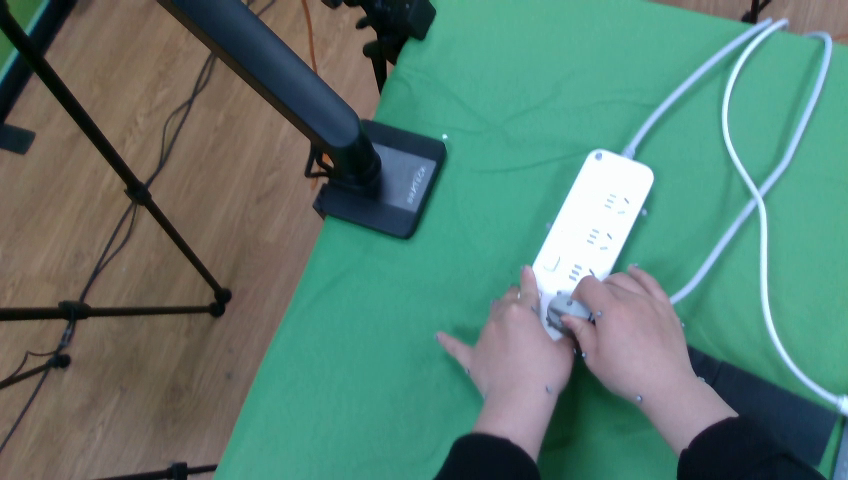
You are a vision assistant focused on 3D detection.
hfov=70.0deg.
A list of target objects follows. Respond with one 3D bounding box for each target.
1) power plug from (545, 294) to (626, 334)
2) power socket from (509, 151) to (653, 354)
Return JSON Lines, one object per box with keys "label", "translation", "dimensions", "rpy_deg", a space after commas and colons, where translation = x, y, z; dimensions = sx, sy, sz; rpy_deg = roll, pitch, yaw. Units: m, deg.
{"label": "power plug", "translation": [0.147, 0.080, 0.571], "dimensions": [0.072, 0.053, 0.035], "rpy_deg": [39, 79, 18]}
{"label": "power socket", "translation": [0.160, 0.009, 0.614], "dimensions": [0.072, 0.033, 0.226], "rpy_deg": [26, 77, 14]}
